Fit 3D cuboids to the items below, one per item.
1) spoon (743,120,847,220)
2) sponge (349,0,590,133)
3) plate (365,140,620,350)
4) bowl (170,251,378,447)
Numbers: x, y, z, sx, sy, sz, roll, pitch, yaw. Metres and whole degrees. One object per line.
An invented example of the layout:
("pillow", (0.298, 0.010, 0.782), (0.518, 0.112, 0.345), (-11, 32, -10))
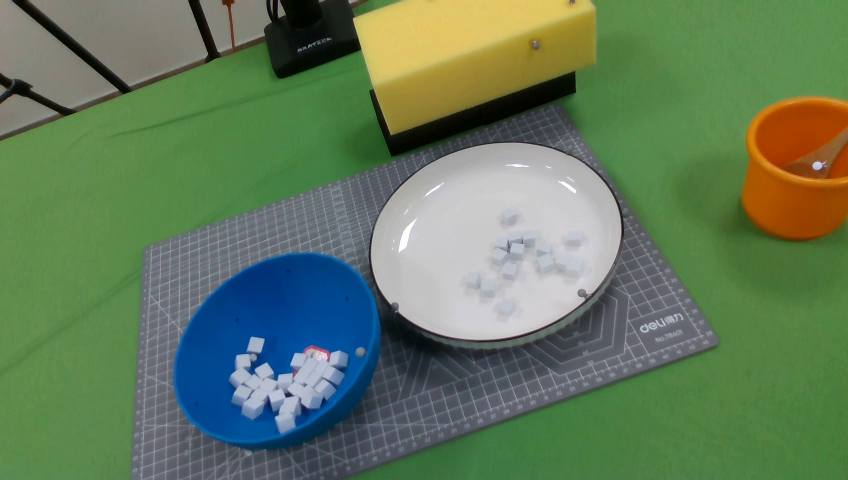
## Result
("spoon", (0.313, -0.086, 0.434), (0.022, 0.194, 0.041), (8, 43, -37))
("sponge", (0.041, -0.192, 0.585), (0.207, 0.061, 0.117), (-19, 51, 0))
("plate", (0.055, 0.002, 0.505), (0.209, 0.038, 0.207), (-7, 52, 10))
("bowl", (-0.099, 0.090, 0.452), (0.151, 0.077, 0.150), (-8, 51, 10))
